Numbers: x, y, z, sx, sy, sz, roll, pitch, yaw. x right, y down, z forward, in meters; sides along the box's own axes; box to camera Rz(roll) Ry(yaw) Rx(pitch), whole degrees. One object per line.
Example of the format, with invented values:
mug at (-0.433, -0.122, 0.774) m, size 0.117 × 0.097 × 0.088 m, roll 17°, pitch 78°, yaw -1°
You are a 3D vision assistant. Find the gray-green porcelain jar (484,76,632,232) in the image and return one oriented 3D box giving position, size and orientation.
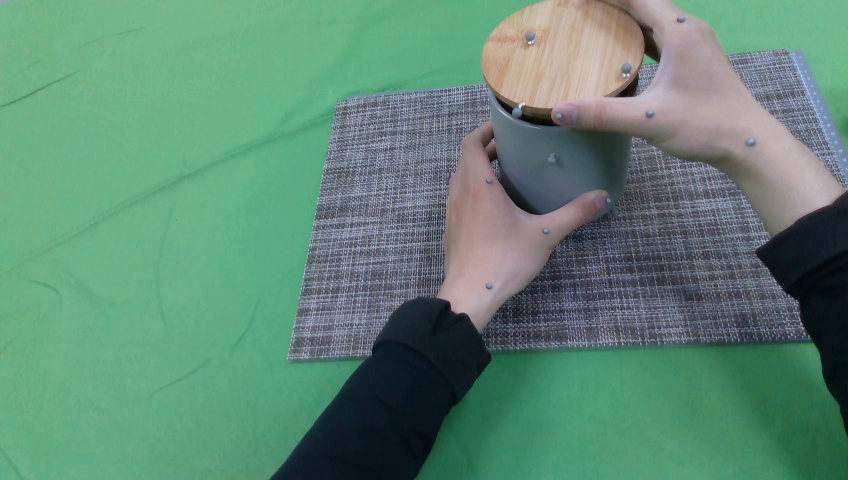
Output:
gray-green porcelain jar at (0.106, -0.076, 0.480) m, size 0.106 × 0.128 × 0.105 m, roll -6°, pitch 53°, yaw 9°

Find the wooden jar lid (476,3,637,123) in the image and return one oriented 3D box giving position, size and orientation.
wooden jar lid at (0.090, -0.121, 0.418) m, size 0.108 × 0.021 × 0.107 m, roll -6°, pitch 58°, yaw 10°
